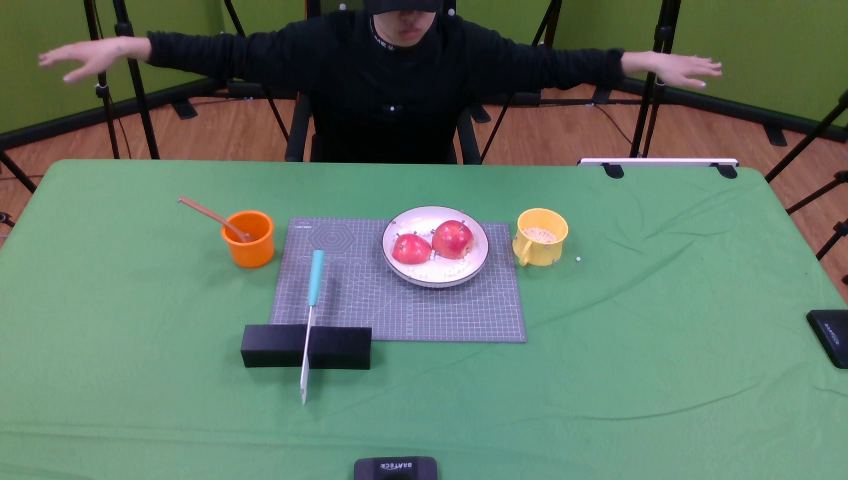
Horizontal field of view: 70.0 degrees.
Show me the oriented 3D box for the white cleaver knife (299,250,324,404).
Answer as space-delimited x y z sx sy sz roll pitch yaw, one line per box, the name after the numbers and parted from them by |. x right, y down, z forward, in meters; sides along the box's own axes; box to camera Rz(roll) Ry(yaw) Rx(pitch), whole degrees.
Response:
-0.194 0.134 1.019 0.021 0.066 0.284 5 50 -5 | white cleaver knife

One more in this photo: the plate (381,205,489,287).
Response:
0.021 0.015 1.170 0.209 0.038 0.208 2 46 -2 | plate

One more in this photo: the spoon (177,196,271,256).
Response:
-0.362 -0.027 1.109 0.021 0.195 0.041 -31 35 28 | spoon

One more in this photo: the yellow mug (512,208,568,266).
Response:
0.219 0.002 1.183 0.099 0.064 0.130 28 51 21 | yellow mug

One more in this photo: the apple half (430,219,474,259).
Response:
0.056 -0.007 1.172 0.081 0.053 0.074 -33 59 -31 | apple half

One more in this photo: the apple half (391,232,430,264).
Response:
-0.024 0.009 1.163 0.081 0.033 0.081 2 43 -2 | apple half
